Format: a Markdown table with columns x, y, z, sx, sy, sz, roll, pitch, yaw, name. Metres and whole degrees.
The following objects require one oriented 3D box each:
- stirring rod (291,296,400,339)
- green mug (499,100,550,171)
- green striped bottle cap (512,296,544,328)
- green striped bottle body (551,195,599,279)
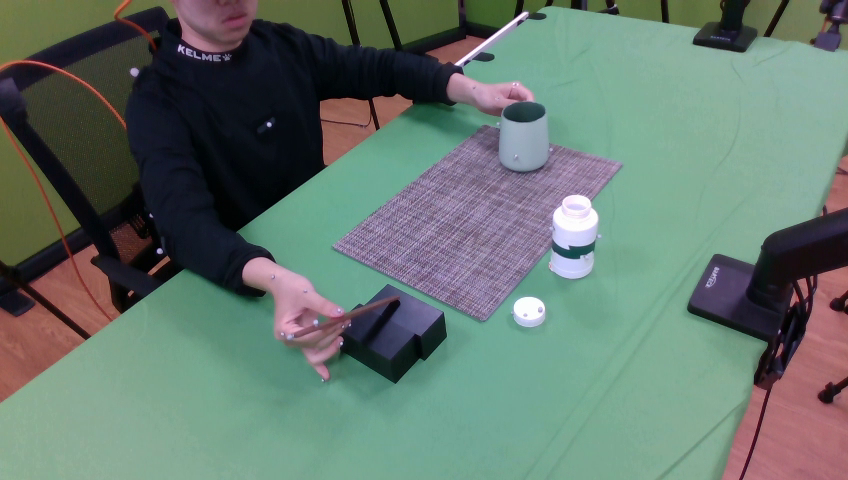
| x | y | z | sx | sy | sz | roll | pitch | yaw | name |
| --- | --- | --- | --- | --- | --- | --- | --- | --- | --- |
| -0.093 | 0.094 | 0.753 | 0.014 | 0.006 | 0.177 | -7 | 6 | 42 | stirring rod |
| 0.183 | -0.197 | 1.101 | 0.092 | 0.105 | 0.125 | 0 | 41 | 9 | green mug |
| 0.144 | 0.099 | 0.837 | 0.044 | 0.020 | 0.044 | -1 | 43 | 2 | green striped bottle cap |
| 0.217 | -0.006 | 0.870 | 0.063 | 0.120 | 0.063 | -4 | 41 | 4 | green striped bottle body |
